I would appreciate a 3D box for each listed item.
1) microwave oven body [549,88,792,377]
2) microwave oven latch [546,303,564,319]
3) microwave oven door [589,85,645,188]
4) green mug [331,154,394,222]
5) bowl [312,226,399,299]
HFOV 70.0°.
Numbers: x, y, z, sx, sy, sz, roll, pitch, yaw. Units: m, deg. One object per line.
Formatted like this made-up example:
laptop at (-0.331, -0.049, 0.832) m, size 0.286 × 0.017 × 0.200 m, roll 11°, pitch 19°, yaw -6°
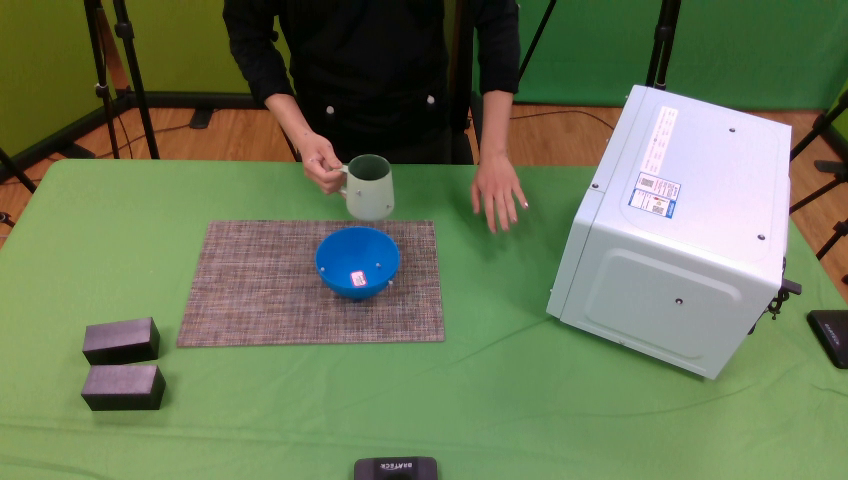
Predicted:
microwave oven body at (0.456, -0.028, 1.088) m, size 0.325 × 0.261 × 0.440 m, roll 20°, pitch 47°, yaw 16°
microwave oven latch at (0.242, 0.102, 1.081) m, size 0.030 × 0.029 × 0.079 m, roll 21°, pitch 48°, yaw 17°
microwave oven door at (0.342, -0.107, 1.149) m, size 0.039 × 0.245 × 0.354 m, roll 20°, pitch 48°, yaw 15°
green mug at (-0.118, -0.100, 1.133) m, size 0.125 × 0.105 × 0.092 m, roll 16°, pitch 48°, yaw 13°
bowl at (-0.120, 0.054, 1.091) m, size 0.151 × 0.077 × 0.150 m, roll 2°, pitch 46°, yaw -2°
